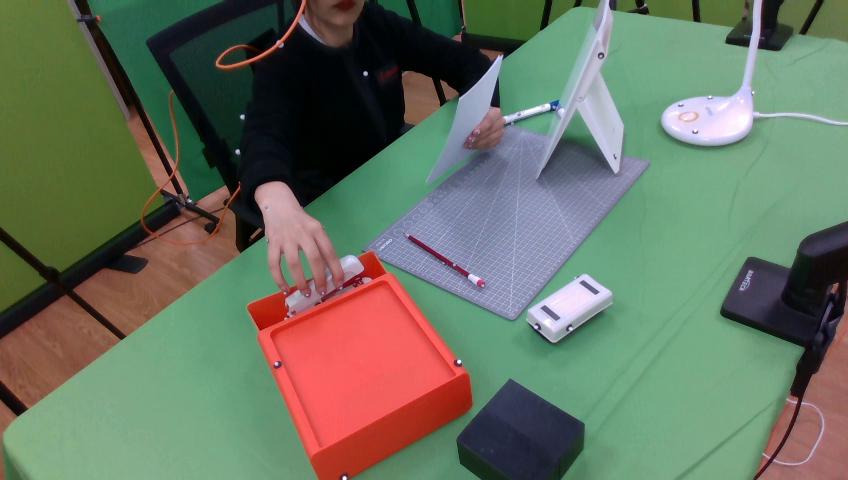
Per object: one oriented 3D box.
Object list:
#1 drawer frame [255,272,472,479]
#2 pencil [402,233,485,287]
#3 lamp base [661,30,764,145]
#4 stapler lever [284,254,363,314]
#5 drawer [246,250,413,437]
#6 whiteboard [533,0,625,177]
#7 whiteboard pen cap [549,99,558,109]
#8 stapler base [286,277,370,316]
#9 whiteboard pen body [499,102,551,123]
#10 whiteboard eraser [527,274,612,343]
[{"bbox_3d":[-0.079,0.161,0.759,0.202,0.083,0.211,-24,43,-18],"label":"drawer frame"},{"bbox_3d":[0.026,0.028,0.949,0.012,0.012,0.192,-34,44,-26],"label":"pencil"},{"bbox_3d":[0.535,-0.287,1.096,0.179,0.181,0.159,-10,40,-4],"label":"lamp base"},{"bbox_3d":[-0.139,0.059,0.831,0.118,0.040,0.026,-26,29,-16],"label":"stapler lever"},{"bbox_3d":[-0.108,0.129,0.805,0.195,0.073,0.210,-23,43,-18],"label":"drawer"},{"bbox_3d":[0.321,-0.258,1.049,0.144,0.306,0.217,20,45,4],"label":"whiteboard"},{"bbox_3d":[0.275,-0.286,1.267,0.033,0.018,0.018,-17,41,-12],"label":"whiteboard pen cap"},{"bbox_3d":[-0.131,0.080,0.844,0.131,0.024,0.041,-25,29,-17],"label":"stapler base"},{"bbox_3d":[0.221,-0.268,1.257,0.141,0.017,0.017,-19,41,-13],"label":"whiteboard pen body"},{"bbox_3d":[0.198,0.094,0.820,0.113,0.042,0.055,-30,43,-22],"label":"whiteboard eraser"}]
